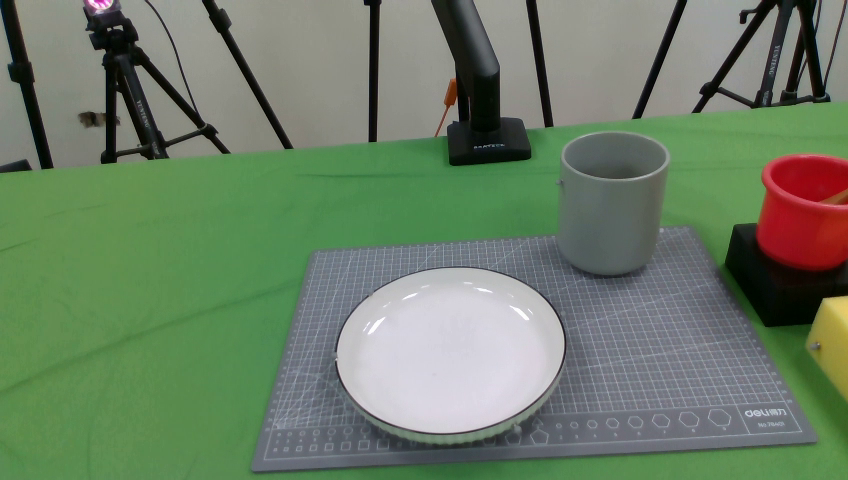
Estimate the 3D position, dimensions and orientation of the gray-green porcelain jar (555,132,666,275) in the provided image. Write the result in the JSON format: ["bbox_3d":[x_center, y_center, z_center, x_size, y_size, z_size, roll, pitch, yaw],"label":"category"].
[{"bbox_3d":[0.193,-0.035,0.640,0.106,0.127,0.105,-4,36,4],"label":"gray-green porcelain jar"}]

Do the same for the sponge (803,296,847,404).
[{"bbox_3d":[0.403,0.125,0.449,0.118,0.061,0.204,-7,35,0],"label":"sponge"}]

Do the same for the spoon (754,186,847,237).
[{"bbox_3d":[0.389,-0.047,0.531,0.194,0.022,0.041,-36,13,44],"label":"spoon"}]

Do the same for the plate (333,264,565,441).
[{"bbox_3d":[0.023,0.100,0.556,0.207,0.039,0.205,-4,36,3],"label":"plate"}]
